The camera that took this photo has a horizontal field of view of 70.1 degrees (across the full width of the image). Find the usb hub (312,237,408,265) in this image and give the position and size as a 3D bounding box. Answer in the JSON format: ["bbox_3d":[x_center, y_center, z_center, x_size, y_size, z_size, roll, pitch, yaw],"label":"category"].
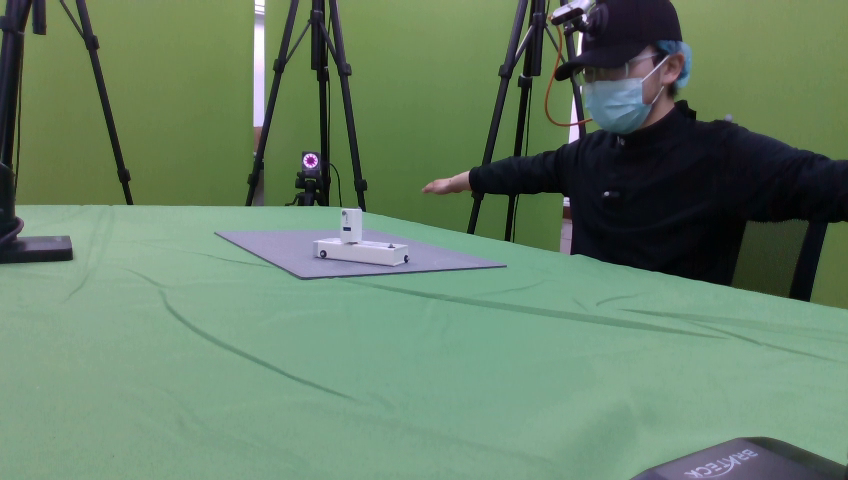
[{"bbox_3d":[-0.088,0.014,0.829,0.125,0.025,0.050,5,8,22],"label":"usb hub"}]

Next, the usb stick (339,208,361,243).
[{"bbox_3d":[-0.100,-0.013,0.815,0.021,0.059,0.027,5,10,20],"label":"usb stick"}]
